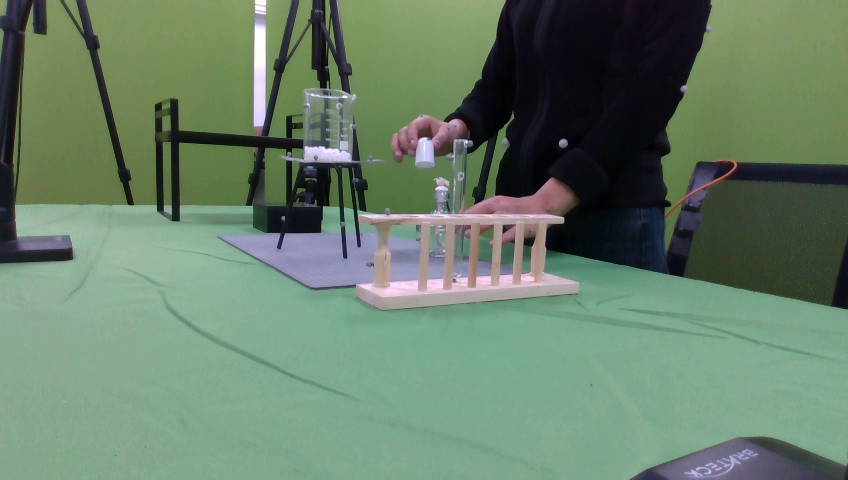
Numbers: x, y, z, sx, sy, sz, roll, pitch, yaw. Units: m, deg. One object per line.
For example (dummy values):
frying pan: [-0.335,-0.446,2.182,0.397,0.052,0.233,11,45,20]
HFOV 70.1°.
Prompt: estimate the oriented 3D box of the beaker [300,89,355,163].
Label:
beaker: [-0.136,-0.161,0.867,0.083,0.100,0.074,5,8,24]

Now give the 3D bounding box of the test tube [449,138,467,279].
test tube: [0.035,-0.033,0.645,0.017,0.150,0.017,3,4,0]

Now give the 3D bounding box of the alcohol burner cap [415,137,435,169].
alcohol burner cap: [0.003,-0.138,0.951,0.034,0.048,0.034,3,-9,1]

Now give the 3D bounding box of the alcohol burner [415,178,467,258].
alcohol burner: [0.026,-0.033,0.902,0.078,0.119,0.078,2,5,0]

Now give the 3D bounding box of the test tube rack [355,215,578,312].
test tube rack: [0.053,0.018,0.641,0.243,0.085,0.066,-1,8,-29]

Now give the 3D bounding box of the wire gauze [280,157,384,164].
wire gauze: [-0.134,-0.114,0.875,0.122,0.011,0.124,-1,6,-30]

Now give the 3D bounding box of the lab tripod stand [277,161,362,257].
lab tripod stand: [-0.143,-0.049,0.884,0.148,0.131,0.148,1,9,0]
